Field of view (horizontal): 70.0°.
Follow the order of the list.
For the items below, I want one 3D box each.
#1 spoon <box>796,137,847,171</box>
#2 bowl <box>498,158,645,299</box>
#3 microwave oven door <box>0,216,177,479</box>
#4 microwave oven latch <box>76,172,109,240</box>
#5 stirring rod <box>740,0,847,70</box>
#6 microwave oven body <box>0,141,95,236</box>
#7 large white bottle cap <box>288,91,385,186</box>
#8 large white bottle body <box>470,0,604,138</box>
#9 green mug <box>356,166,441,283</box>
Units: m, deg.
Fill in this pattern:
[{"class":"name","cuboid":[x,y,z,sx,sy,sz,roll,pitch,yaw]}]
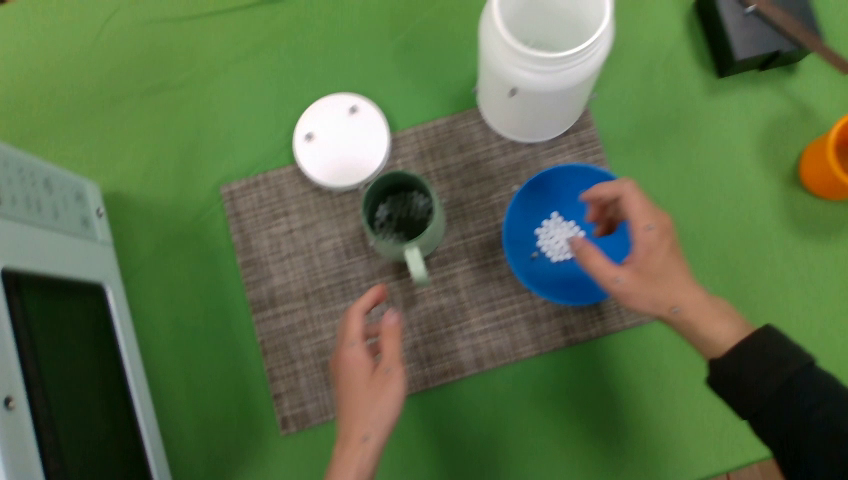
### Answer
[{"class":"spoon","cuboid":[0.499,-0.090,0.633,0.022,0.192,0.041,30,77,-38]},{"class":"bowl","cuboid":[0.155,-0.008,0.667,0.151,0.077,0.151,0,83,3]},{"class":"microwave oven door","cuboid":[-0.330,0.156,0.570,0.039,0.244,0.354,-19,82,0]},{"class":"microwave oven latch","cuboid":[-0.392,-0.036,0.698,0.030,0.029,0.079,-18,83,-1]},{"class":"stirring rod","cuboid":[0.393,-0.246,0.674,0.176,0.006,0.014,40,120,6]},{"class":"microwave oven body","cuboid":[-0.481,0.164,0.580,0.326,0.261,0.440,-19,83,-1]},{"class":"large white bottle cap","cuboid":[-0.104,-0.122,0.722,0.115,0.018,0.114,0,81,2]},{"class":"large white bottle body","cuboid":[0.114,-0.200,0.639,0.130,0.185,0.130,-1,79,3]},{"class":"green mug","cuboid":[-0.023,-0.014,0.662,0.092,0.105,0.125,-18,82,0]}]
